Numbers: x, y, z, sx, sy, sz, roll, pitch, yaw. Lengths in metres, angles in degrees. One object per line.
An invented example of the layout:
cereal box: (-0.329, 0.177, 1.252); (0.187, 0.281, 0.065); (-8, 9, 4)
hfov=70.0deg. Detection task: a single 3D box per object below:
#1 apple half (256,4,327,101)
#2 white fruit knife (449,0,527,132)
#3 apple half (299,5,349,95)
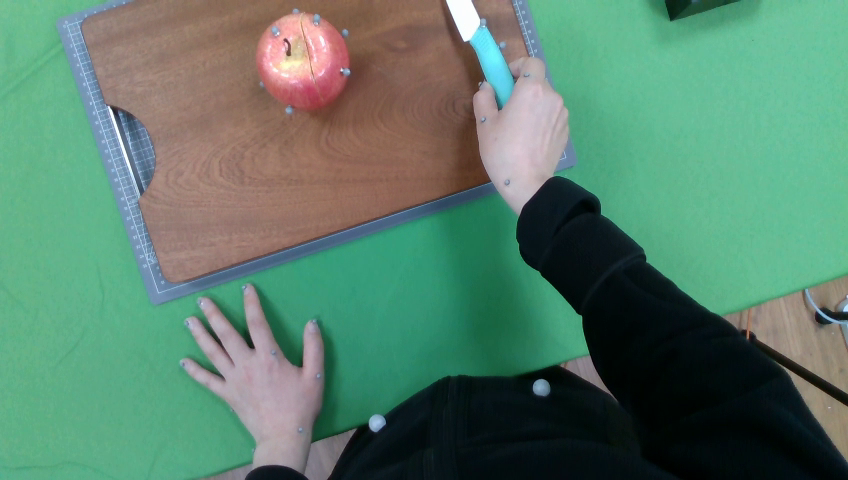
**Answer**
apple half: (-0.120, -0.162, 0.543); (0.053, 0.074, 0.081); (-13, 95, 4)
white fruit knife: (0.048, -0.198, 0.560); (0.027, 0.016, 0.206); (-24, 83, 8)
apple half: (-0.083, -0.171, 0.541); (0.033, 0.081, 0.081); (-13, 91, 3)
